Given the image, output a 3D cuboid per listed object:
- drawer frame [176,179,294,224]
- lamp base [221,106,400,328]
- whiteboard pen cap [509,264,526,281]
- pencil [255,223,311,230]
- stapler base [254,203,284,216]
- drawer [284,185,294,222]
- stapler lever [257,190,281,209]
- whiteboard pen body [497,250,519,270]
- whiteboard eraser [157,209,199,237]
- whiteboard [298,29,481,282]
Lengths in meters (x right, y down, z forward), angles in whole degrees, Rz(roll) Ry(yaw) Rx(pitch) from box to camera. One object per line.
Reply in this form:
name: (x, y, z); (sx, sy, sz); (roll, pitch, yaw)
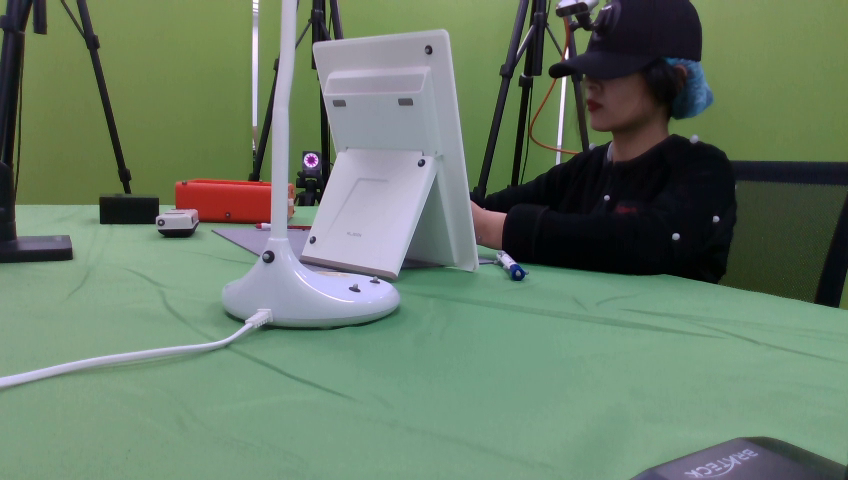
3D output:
drawer frame: (-0.395, -0.086, 1.299); (0.214, 0.082, 0.201); (1, 8, -9)
lamp base: (-0.101, -0.023, 0.531); (0.160, 0.180, 0.179); (4, 10, 10)
whiteboard pen cap: (0.116, 0.039, 0.752); (0.018, 0.018, 0.033); (2, 10, -1)
pencil: (-0.216, -0.023, 1.134); (0.195, 0.012, 0.012); (1, 7, -21)
stapler base: (-0.334, -0.068, 1.307); (0.041, 0.024, 0.130); (5, 6, -2)
drawer: (-0.390, -0.084, 1.301); (0.212, 0.073, 0.194); (1, 8, -8)
stapler lever: (-0.333, -0.091, 1.305); (0.027, 0.040, 0.118); (5, 9, -2)
whiteboard pen body: (0.116, 0.032, 0.810); (0.017, 0.017, 0.140); (2, 8, -2)
whiteboard eraser: (-0.411, -0.029, 1.016); (0.056, 0.042, 0.112); (2, 7, -16)
whiteboard: (-0.075, -0.082, 0.741); (0.216, 0.305, 0.144); (9, 29, 37)
